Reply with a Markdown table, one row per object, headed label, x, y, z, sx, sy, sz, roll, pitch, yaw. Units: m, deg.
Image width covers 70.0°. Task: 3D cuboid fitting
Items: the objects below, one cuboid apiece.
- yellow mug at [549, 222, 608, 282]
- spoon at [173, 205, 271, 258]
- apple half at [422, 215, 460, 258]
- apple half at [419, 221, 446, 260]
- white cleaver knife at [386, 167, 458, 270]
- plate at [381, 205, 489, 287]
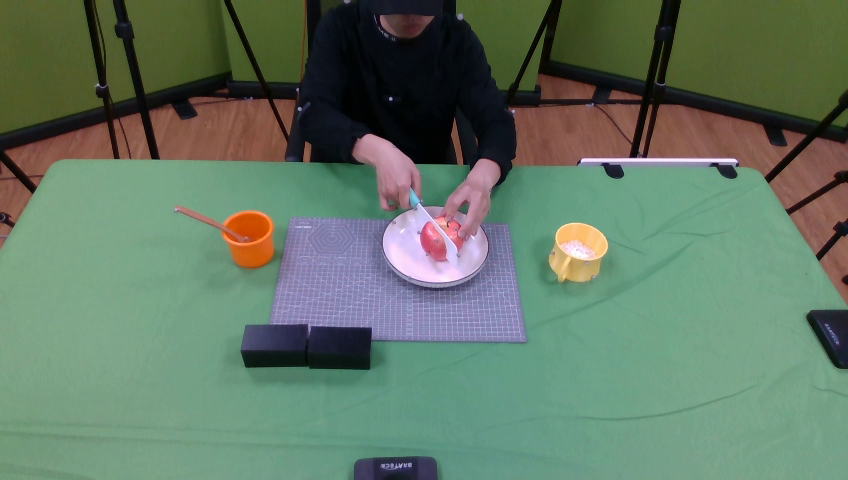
| label | x | y | z | sx | sy | sz | roll | pitch | yaw |
| --- | --- | --- | --- | --- | --- | --- | --- | --- | --- |
| yellow mug | 0.287 | 0.031 | 1.159 | 0.099 | 0.064 | 0.130 | 27 | 51 | 21 |
| spoon | -0.362 | -0.017 | 1.098 | 0.021 | 0.195 | 0.041 | -32 | 42 | 27 |
| apple half | 0.037 | -0.007 | 1.152 | 0.053 | 0.075 | 0.080 | -20 | 50 | -38 |
| apple half | 0.009 | 0.008 | 1.140 | 0.033 | 0.082 | 0.081 | -23 | 52 | -20 |
| white cleaver knife | -0.008 | -0.047 | 1.171 | 0.021 | 0.066 | 0.284 | -18 | 48 | -21 |
| plate | 0.021 | 0.015 | 1.170 | 0.209 | 0.038 | 0.208 | 2 | 46 | -2 |
